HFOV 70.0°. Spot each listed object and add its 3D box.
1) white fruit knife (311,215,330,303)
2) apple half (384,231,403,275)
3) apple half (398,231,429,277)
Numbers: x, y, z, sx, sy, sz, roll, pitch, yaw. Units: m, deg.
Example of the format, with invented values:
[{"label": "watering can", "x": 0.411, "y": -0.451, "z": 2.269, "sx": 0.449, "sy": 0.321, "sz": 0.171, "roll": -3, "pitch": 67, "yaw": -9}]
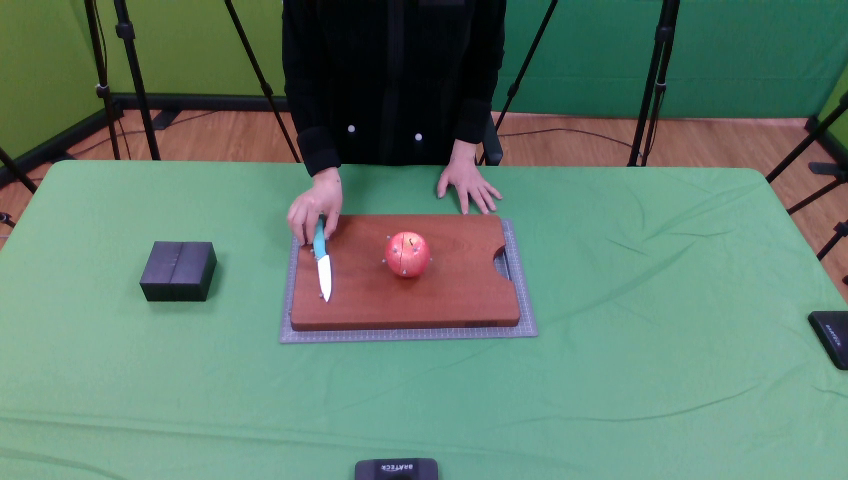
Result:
[{"label": "white fruit knife", "x": -0.191, "y": 0.031, "z": 1.115, "sx": 0.027, "sy": 0.016, "sz": 0.206, "roll": -11, "pitch": 50, "yaw": -4}, {"label": "apple half", "x": -0.056, "y": 0.025, "z": 1.092, "sx": 0.033, "sy": 0.081, "sz": 0.081, "roll": 5, "pitch": 46, "yaw": -3}, {"label": "apple half", "x": -0.018, "y": 0.028, "z": 1.095, "sx": 0.053, "sy": 0.075, "sz": 0.080, "roll": 6, "pitch": 42, "yaw": -4}]
